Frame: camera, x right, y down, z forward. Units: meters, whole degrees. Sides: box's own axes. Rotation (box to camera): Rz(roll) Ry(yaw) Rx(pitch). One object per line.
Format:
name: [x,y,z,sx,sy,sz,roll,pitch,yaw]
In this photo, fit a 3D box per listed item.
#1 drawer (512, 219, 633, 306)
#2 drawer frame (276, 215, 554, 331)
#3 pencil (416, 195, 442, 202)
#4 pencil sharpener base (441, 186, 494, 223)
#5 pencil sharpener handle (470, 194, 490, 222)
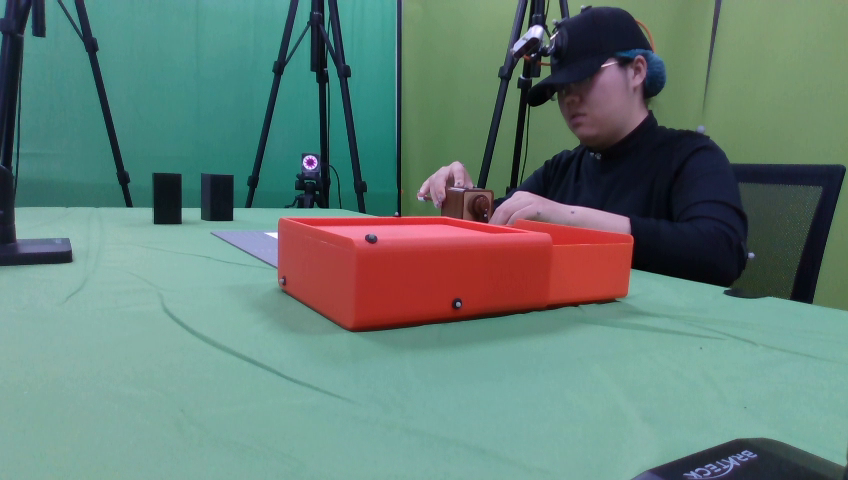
drawer: [0.085,0.021,0.674,0.213,0.073,0.193,-2,9,-32]
drawer frame: [-0.015,0.022,0.610,0.215,0.082,0.200,-2,9,-32]
pencil: [0.036,-0.070,1.057,0.012,0.012,0.193,-1,7,-30]
pencil sharpener base: [0.070,-0.032,0.988,0.061,0.107,0.076,-1,8,-28]
pencil sharpener handle: [0.097,-0.038,0.944,0.036,0.068,0.030,-15,15,-26]
